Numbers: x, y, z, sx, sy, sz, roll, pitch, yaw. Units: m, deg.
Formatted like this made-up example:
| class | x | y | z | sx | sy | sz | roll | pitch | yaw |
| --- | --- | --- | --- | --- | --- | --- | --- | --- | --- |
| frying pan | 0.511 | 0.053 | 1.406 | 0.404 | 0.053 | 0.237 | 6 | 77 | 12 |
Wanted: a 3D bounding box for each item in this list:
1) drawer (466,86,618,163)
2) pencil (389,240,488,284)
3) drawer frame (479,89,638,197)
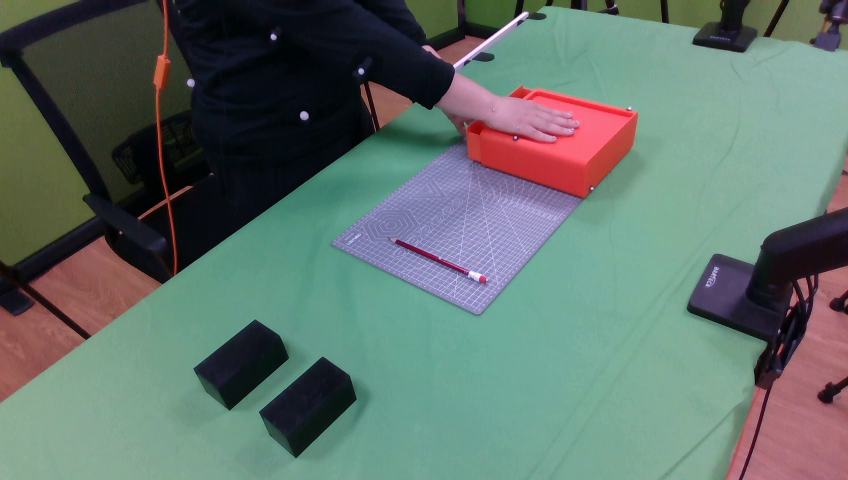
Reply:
| class | x | y | z | sx | sy | sz | roll | pitch | yaw |
| --- | --- | --- | --- | --- | --- | --- | --- | --- | --- |
| drawer | 0.217 | -0.194 | 1.117 | 0.210 | 0.073 | 0.195 | 25 | 48 | 31 |
| pencil | 0.017 | 0.030 | 0.938 | 0.192 | 0.012 | 0.012 | 22 | 48 | 32 |
| drawer frame | 0.244 | -0.183 | 1.102 | 0.212 | 0.083 | 0.202 | 23 | 47 | 31 |
